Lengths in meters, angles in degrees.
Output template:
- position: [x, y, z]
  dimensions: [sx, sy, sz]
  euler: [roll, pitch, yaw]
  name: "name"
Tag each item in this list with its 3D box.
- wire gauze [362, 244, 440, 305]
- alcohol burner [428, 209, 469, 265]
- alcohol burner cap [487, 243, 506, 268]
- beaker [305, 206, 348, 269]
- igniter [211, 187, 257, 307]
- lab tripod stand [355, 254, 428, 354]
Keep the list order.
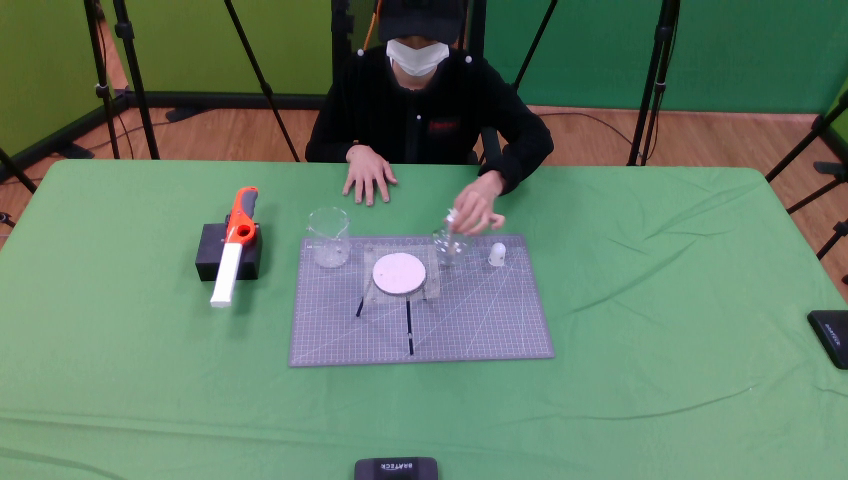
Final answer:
- position: [-0.038, 0.051, 0.971]
  dimensions: [0.121, 0.011, 0.124]
  euler: [-1, 46, -4]
  name: "wire gauze"
- position: [0.047, -0.010, 1.117]
  dimensions: [0.078, 0.119, 0.077]
  euler: [2, 45, -2]
  name: "alcohol burner"
- position: [0.141, 0.027, 1.166]
  dimensions: [0.034, 0.048, 0.033]
  euler: [2, 45, -2]
  name: "alcohol burner cap"
- position: [-0.177, 0.001, 1.126]
  dimensions: [0.074, 0.101, 0.083]
  euler: [-14, 49, -16]
  name: "beaker"
- position: [-0.343, 0.003, 1.100]
  dimensions: [0.057, 0.025, 0.274]
  euler: [2, 49, -4]
  name: "igniter"
- position: [-0.046, 0.100, 1.016]
  dimensions: [0.148, 0.132, 0.147]
  euler: [1, 47, -1]
  name: "lab tripod stand"
